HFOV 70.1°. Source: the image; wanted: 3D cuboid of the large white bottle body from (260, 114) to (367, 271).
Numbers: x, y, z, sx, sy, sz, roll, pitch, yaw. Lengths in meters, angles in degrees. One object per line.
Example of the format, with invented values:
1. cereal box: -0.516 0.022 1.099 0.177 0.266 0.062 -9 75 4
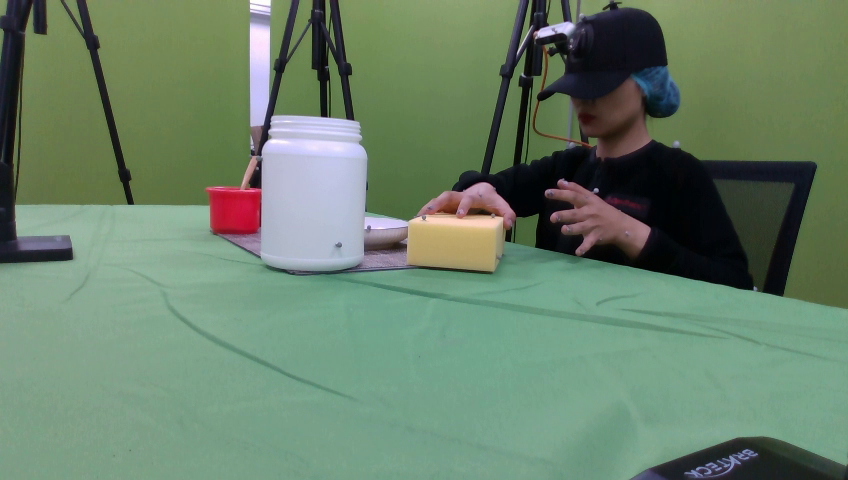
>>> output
1. large white bottle body: -0.139 -0.062 0.763 0.131 0.184 0.130 3 8 0

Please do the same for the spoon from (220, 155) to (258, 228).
1. spoon: -0.325 -0.090 1.091 0.041 0.021 0.193 3 51 3

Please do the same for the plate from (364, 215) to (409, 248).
1. plate: -0.122 -0.015 0.984 0.209 0.038 0.209 2 7 0

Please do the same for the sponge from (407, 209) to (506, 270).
1. sponge: 0.054 -0.005 0.880 0.118 0.061 0.207 4 8 10

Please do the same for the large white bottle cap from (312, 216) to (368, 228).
1. large white bottle cap: -0.171 -0.038 1.234 0.115 0.018 0.115 2 5 0
